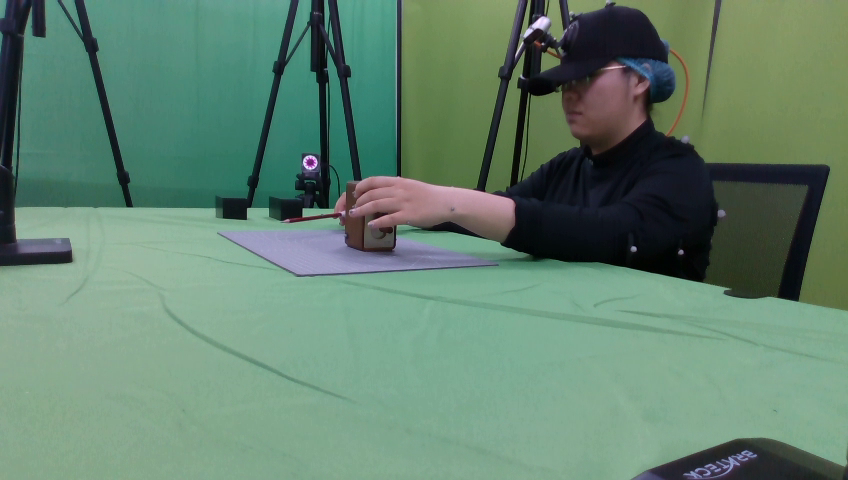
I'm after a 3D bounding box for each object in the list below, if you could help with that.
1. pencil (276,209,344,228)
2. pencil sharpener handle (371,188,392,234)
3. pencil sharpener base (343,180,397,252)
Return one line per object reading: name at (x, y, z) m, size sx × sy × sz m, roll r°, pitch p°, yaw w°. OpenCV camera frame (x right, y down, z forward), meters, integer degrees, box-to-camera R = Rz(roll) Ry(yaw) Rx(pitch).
pencil at (-0.200, -0.040, 1.117) m, size 0.012 × 0.012 × 0.195 m, roll 7°, pitch 15°, yaw 33°
pencil sharpener handle at (-0.058, -0.044, 0.913) m, size 0.036 × 0.067 × 0.030 m, roll -1°, pitch 9°, yaw -31°
pencil sharpener base at (-0.085, -0.039, 0.957) m, size 0.062 × 0.107 × 0.076 m, roll -1°, pitch 9°, yaw -31°
